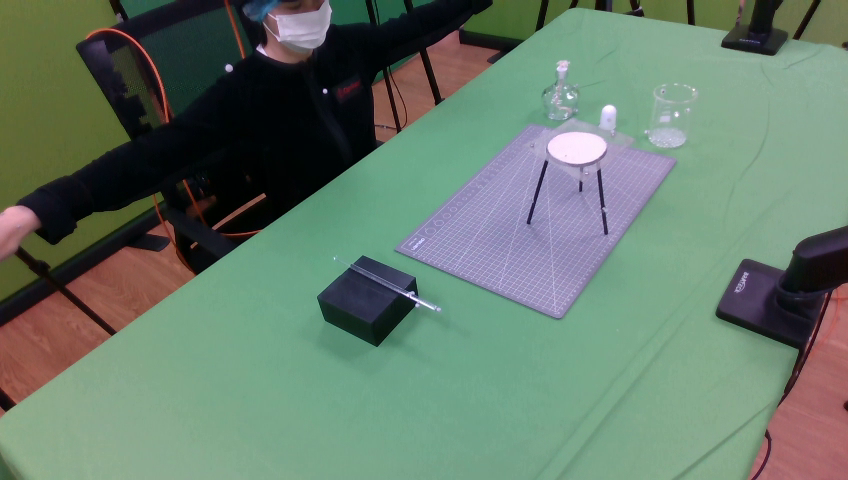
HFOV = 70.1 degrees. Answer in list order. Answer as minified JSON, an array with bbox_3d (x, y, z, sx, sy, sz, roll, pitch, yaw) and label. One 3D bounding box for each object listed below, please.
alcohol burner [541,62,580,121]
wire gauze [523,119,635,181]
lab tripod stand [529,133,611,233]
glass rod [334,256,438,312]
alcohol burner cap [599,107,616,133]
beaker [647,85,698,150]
[{"bbox_3d":[0.277,-0.302,1.222,0.078,0.119,0.077,-4,38,4],"label":"alcohol burner"},{"bbox_3d":[0.233,-0.143,0.913,0.122,0.011,0.124,-32,45,-25],"label":"wire gauze"},{"bbox_3d":[0.236,-0.089,0.953,0.148,0.132,0.147,-5,42,5],"label":"lab tripod stand"},{"bbox_3d":[-0.058,0.060,0.850,0.198,0.008,0.008,24,49,33],"label":"glass rod"},{"bbox_3d":[0.361,-0.238,1.189,0.034,0.048,0.033,-5,40,4],"label":"alcohol burner cap"},{"bbox_3d":[0.454,-0.223,1.110,0.084,0.101,0.073,-10,40,-4],"label":"beaker"}]
